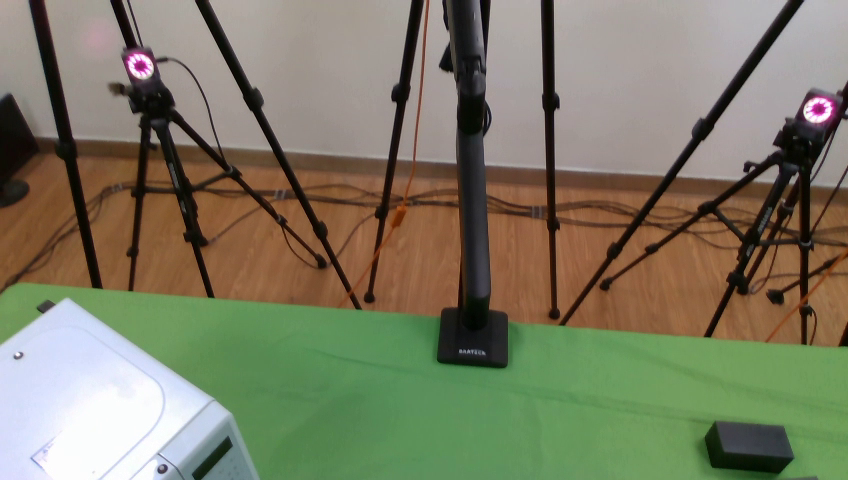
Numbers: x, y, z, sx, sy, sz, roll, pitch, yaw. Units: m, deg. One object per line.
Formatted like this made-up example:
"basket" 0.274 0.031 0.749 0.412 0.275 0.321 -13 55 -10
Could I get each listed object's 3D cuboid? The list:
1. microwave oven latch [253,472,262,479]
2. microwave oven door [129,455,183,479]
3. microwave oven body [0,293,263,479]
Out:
"microwave oven latch" -0.246 0.356 0.812 0.030 0.030 0.079 27 51 23
"microwave oven door" -0.367 0.411 0.609 0.039 0.246 0.355 25 50 23
"microwave oven body" -0.466 0.333 0.692 0.324 0.262 0.440 26 51 22
